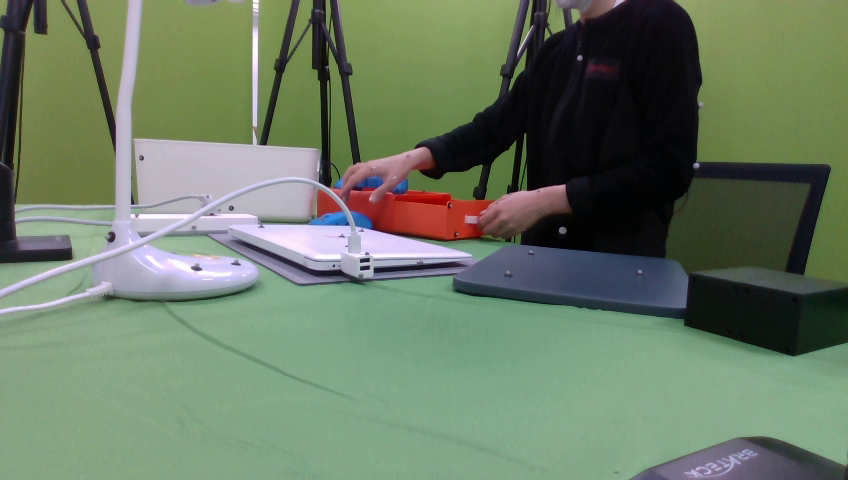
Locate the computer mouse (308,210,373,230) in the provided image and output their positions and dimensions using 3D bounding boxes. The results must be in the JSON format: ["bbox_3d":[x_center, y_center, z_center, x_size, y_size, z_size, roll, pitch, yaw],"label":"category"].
[{"bbox_3d":[-0.157,-0.033,1.138,0.118,0.041,0.062,-6,12,-28],"label":"computer mouse"}]

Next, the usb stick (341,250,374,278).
[{"bbox_3d":[-0.078,0.026,0.686,0.021,0.027,0.059,-8,8,-30],"label":"usb stick"}]

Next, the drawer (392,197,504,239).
[{"bbox_3d":[0.021,-0.052,1.210,0.210,0.073,0.195,8,9,37],"label":"drawer"}]

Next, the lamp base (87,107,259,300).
[{"bbox_3d":[-0.254,-0.039,0.603,0.160,0.180,0.179,5,10,18],"label":"lamp base"}]

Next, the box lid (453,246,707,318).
[{"bbox_3d":[0.204,0.044,0.780,0.262,0.015,0.372,5,7,17],"label":"box lid"}]

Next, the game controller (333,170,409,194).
[{"bbox_3d":[-0.107,-0.121,1.289,0.155,0.051,0.097,5,4,10],"label":"game controller"}]

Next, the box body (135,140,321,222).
[{"bbox_3d":[-0.420,-0.133,1.354,0.365,0.160,0.253,2,7,-8],"label":"box body"}]

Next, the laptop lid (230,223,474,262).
[{"bbox_3d":[-0.121,0.000,0.888,0.243,0.013,0.355,1,7,-33],"label":"laptop lid"}]

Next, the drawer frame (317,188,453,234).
[{"bbox_3d":[-0.082,-0.068,1.282,0.212,0.082,0.203,7,9,35],"label":"drawer frame"}]

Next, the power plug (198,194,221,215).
[{"bbox_3d":[-0.386,-0.055,1.088,0.035,0.052,0.072,-2,7,-24],"label":"power plug"}]

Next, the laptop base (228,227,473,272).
[{"bbox_3d":[-0.124,0.011,0.889,0.237,0.023,0.352,2,6,-35],"label":"laptop base"}]

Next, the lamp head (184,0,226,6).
[{"bbox_3d":[-0.229,-0.320,0.627,0.112,0.112,0.123,6,-35,26],"label":"lamp head"}]

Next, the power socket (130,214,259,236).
[{"bbox_3d":[-0.397,-0.028,1.048,0.228,0.032,0.072,-3,7,-35],"label":"power socket"}]
